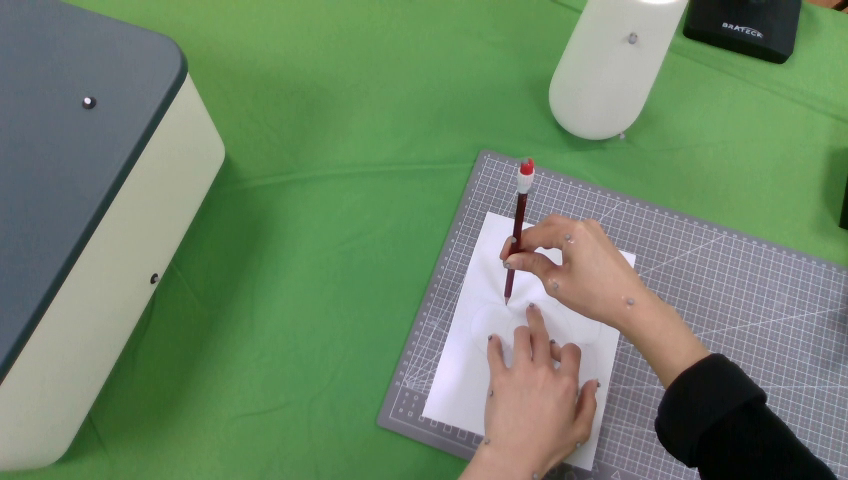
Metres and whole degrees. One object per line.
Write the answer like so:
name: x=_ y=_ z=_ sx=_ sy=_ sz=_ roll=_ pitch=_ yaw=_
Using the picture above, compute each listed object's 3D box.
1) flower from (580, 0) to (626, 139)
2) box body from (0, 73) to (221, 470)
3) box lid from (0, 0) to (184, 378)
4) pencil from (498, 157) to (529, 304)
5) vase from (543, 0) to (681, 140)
flower: x=0.172 y=-0.222 z=0.497 sx=0.044 sy=0.365 sz=0.038 roll=12 pitch=52 yaw=8
box body: x=-0.372 y=-0.012 z=0.521 sx=0.254 sy=0.161 sz=0.362 roll=19 pitch=71 yaw=6
box lid: x=-0.372 y=-0.040 z=0.451 sx=0.263 sy=0.015 sz=0.369 roll=19 pitch=71 yaw=6
pencil: x=0.072 y=0.002 z=0.505 sx=0.012 sy=0.196 sz=0.012 roll=0 pitch=53 yaw=1
vase: x=0.174 y=-0.179 z=0.570 sx=0.098 sy=0.201 sz=0.097 roll=0 pitch=69 yaw=0
